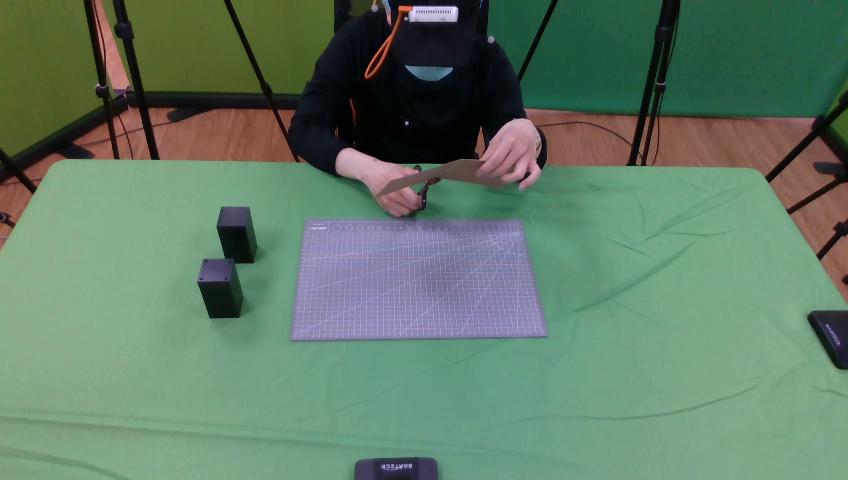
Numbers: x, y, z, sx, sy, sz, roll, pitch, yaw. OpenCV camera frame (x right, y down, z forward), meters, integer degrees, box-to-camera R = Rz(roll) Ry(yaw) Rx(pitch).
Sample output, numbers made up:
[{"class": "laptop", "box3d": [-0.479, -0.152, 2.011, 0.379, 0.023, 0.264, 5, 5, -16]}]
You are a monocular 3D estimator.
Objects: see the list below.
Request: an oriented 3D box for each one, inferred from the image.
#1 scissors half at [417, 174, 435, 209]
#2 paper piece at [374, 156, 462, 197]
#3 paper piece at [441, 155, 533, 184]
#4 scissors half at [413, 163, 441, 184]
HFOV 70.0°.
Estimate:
[{"class": "scissors half", "box3d": [0.009, -0.104, 1.181, 0.013, 0.175, 0.040, -7, 68, -14]}, {"class": "paper piece", "box3d": [-0.014, -0.110, 1.053, 0.136, 0.135, 0.004, -22, 90, -19]}, {"class": "paper piece", "box3d": [0.107, -0.127, 1.098, 0.138, 0.136, 0.008, 8, 83, -17]}, {"class": "scissors half", "box3d": [0.005, -0.127, 1.183, 0.013, 0.040, 0.174, -11, 14, -15]}]
